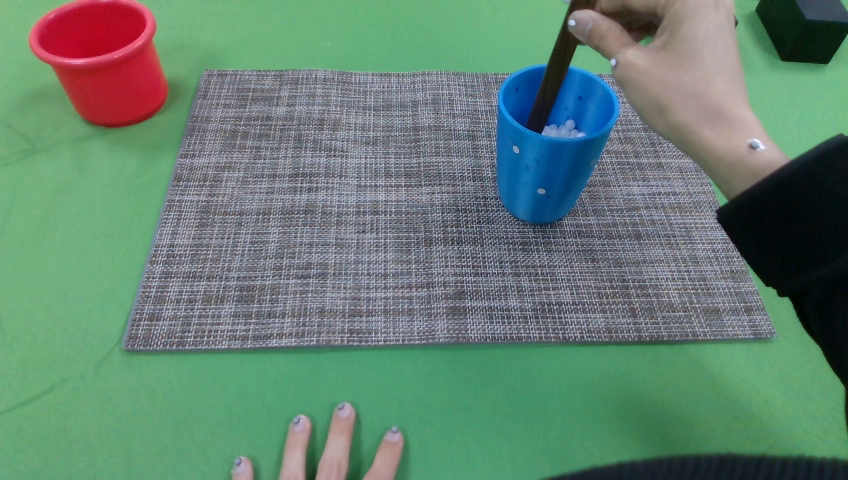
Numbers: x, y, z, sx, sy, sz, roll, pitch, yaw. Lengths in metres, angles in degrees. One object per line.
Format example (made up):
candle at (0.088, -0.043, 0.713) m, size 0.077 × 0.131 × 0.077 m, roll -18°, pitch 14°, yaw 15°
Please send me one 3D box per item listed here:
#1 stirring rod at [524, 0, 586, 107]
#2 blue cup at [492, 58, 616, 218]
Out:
stirring rod at (0.082, -0.118, 0.383) m, size 0.014 × 0.177 × 0.005 m, roll 14°, pitch 49°, yaw 0°
blue cup at (0.090, -0.070, 0.460) m, size 0.093 × 0.101 × 0.091 m, roll 1°, pitch 52°, yaw -1°
